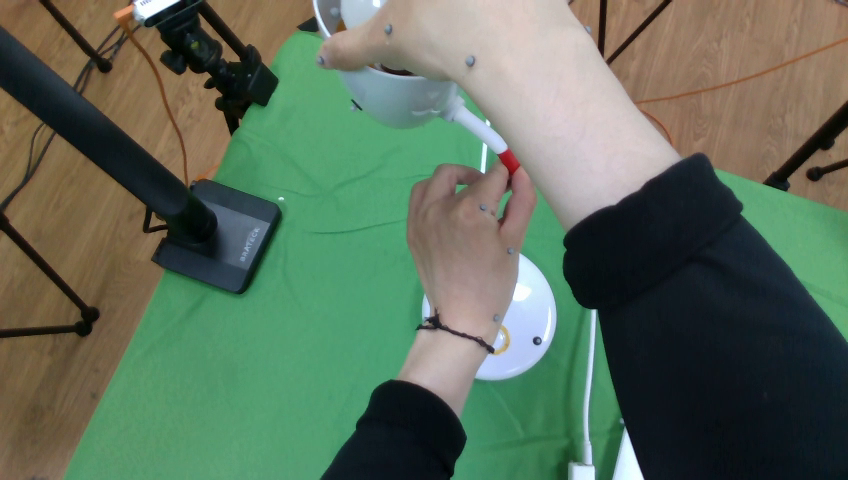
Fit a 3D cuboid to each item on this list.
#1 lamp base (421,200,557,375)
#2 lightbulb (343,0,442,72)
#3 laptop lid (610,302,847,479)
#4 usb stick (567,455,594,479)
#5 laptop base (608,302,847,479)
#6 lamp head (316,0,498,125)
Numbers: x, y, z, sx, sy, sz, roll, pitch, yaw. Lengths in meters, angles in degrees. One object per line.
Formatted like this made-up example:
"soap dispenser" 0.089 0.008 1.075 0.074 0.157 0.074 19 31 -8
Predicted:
"lamp base" 0.075 0.043 0.647 0.161 0.181 0.178 -11 71 -4
"lightbulb" -0.017 -0.137 0.388 0.059 0.108 0.059 -1 78 3
"laptop lid" 0.399 0.231 0.671 0.356 0.013 0.240 20 75 5
"usb stick" 0.171 0.267 0.662 0.027 0.021 0.059 4 81 2
"laptop base" 0.400 0.233 0.683 0.354 0.023 0.234 18 76 4
"lamp head" -0.010 -0.130 0.417 0.112 0.123 0.111 0 71 0
